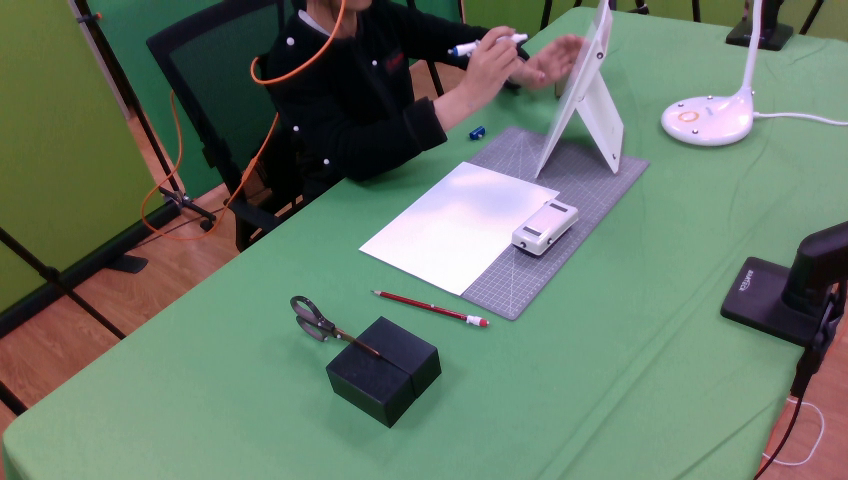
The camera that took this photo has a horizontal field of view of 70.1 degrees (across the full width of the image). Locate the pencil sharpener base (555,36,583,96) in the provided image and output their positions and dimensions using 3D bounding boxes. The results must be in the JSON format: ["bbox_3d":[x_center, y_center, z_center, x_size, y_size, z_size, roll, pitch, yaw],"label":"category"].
[{"bbox_3d":[0.318,-0.371,1.290,0.061,0.107,0.076,10,43,22],"label":"pencil sharpener base"}]

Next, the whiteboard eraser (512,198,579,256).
[{"bbox_3d":[0.191,-0.019,0.948,0.055,0.042,0.113,26,51,36],"label":"whiteboard eraser"}]

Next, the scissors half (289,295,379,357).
[{"bbox_3d":[-0.122,0.114,0.803,0.174,0.040,0.013,26,50,32],"label":"scissors half"}]

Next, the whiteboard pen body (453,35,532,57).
[{"bbox_3d":[0.120,-0.336,1.040,0.141,0.017,0.017,-14,40,-7],"label":"whiteboard pen body"}]

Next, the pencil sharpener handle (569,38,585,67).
[{"bbox_3d":[0.332,-0.413,1.317,0.036,0.068,0.030,19,46,12],"label":"pencil sharpener handle"}]

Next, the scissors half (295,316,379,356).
[{"bbox_3d":[-0.119,0.132,0.813,0.174,0.040,0.013,9,34,45],"label":"scissors half"}]

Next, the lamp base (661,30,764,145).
[{"bbox_3d":[0.535,-0.287,1.096,0.179,0.181,0.159,-10,40,-4],"label":"lamp base"}]

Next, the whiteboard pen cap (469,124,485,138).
[{"bbox_3d":[0.106,-0.220,1.224,0.033,0.018,0.018,-38,48,-23],"label":"whiteboard pen cap"}]

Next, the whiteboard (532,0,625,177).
[{"bbox_3d":[0.320,-0.258,1.050,0.144,0.306,0.217,21,45,5],"label":"whiteboard"}]

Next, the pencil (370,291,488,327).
[{"bbox_3d":[0.003,0.097,0.877,0.193,0.012,0.012,13,45,26],"label":"pencil"}]
